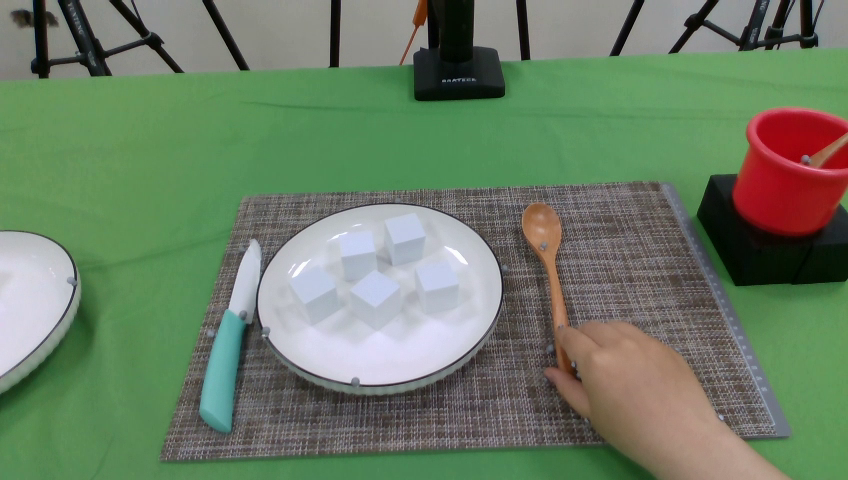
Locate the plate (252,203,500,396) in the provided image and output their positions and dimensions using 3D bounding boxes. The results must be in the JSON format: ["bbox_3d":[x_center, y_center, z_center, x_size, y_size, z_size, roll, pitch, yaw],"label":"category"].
[{"bbox_3d":[-0.040,0.048,0.523,0.208,0.039,0.205,-1,44,1],"label":"plate"}]

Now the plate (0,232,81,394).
[{"bbox_3d":[-0.398,0.074,0.513,0.209,0.038,0.207,-1,43,1],"label":"plate"}]

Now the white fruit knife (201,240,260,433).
[{"bbox_3d":[-0.162,0.070,0.522,0.027,0.016,0.205,18,38,-20],"label":"white fruit knife"}]

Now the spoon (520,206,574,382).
[{"bbox_3d":[0.112,0.039,0.538,0.042,0.022,0.192,12,42,-10],"label":"spoon"}]

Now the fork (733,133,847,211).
[{"bbox_3d":[0.358,-0.084,0.502,0.207,0.019,0.028,-38,29,24],"label":"fork"}]
